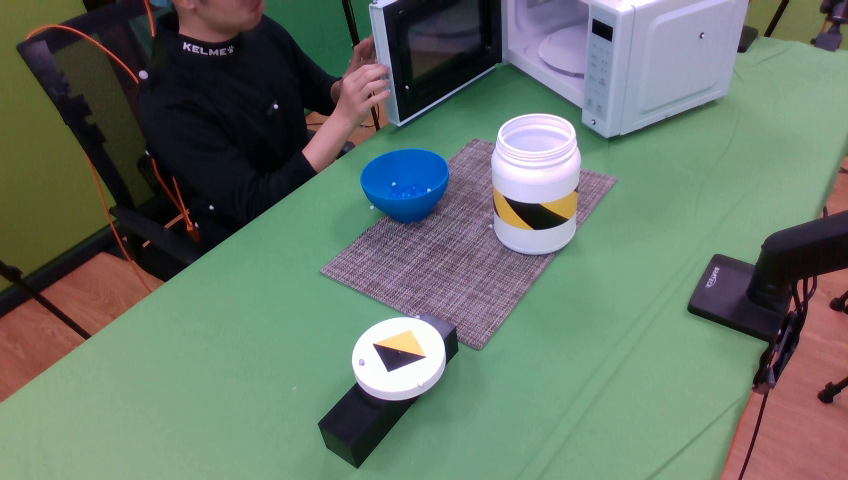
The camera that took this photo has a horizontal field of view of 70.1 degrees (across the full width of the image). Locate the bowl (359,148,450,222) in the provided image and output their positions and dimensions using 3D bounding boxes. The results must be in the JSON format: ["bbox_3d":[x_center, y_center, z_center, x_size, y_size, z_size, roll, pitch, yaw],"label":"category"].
[{"bbox_3d":[-0.029,-0.083,1.022,0.151,0.077,0.150,-4,40,4],"label":"bowl"}]

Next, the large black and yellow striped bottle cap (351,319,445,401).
[{"bbox_3d":[-0.031,0.143,0.735,0.115,0.019,0.114,-3,40,3],"label":"large black and yellow striped bottle cap"}]

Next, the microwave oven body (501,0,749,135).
[{"bbox_3d":[0.382,-0.444,1.246,0.327,0.261,0.437,-22,42,-16],"label":"microwave oven body"}]

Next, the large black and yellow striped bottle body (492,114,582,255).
[{"bbox_3d":[0.169,-0.083,0.912,0.131,0.185,0.130,-4,41,4],"label":"large black and yellow striped bottle body"}]

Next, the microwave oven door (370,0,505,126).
[{"bbox_3d":[0.042,-0.424,1.263,0.039,0.245,0.357,28,52,34],"label":"microwave oven door"}]

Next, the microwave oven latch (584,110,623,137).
[{"bbox_3d":[0.337,-0.222,1.142,0.030,0.029,0.078,-21,42,-14],"label":"microwave oven latch"}]
